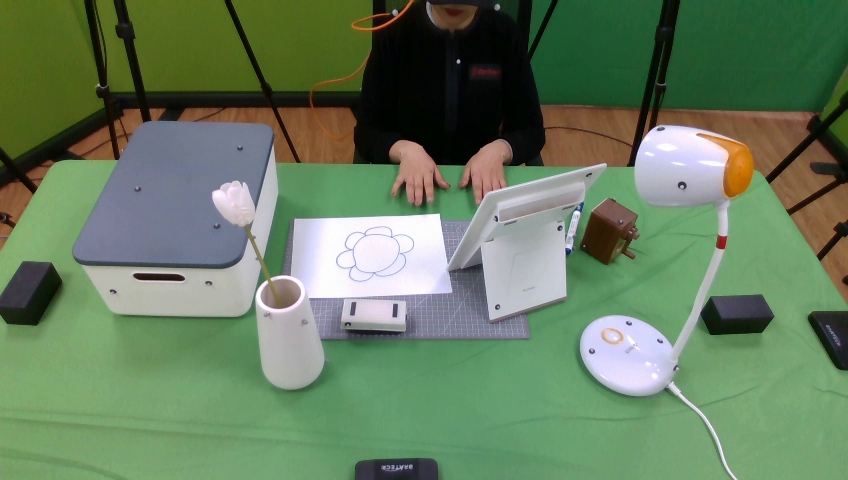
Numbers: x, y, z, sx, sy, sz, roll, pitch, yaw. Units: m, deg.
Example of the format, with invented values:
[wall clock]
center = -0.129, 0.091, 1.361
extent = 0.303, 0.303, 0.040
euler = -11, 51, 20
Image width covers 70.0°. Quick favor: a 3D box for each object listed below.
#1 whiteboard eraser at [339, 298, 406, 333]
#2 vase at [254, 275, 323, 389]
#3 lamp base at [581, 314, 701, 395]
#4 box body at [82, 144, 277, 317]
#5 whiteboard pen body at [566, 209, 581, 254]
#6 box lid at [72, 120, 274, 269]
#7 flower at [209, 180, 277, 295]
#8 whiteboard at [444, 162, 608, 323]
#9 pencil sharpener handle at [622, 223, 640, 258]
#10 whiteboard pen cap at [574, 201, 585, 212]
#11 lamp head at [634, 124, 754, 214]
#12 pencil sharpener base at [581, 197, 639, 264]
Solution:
[whiteboard eraser]
center = -0.087, 0.131, 1.045
extent = 0.113, 0.042, 0.055
euler = 3, 48, -2
[vase]
center = -0.209, 0.143, 0.921
extent = 0.098, 0.201, 0.097
euler = 1, 46, -1
[lamp base]
center = 0.361, 0.144, 0.973
extent = 0.178, 0.181, 0.160
euler = 34, 53, 23
[box body]
center = -0.421, -0.041, 1.108
extent = 0.254, 0.161, 0.361
euler = 2, 46, -3
[whiteboard pen body]
center = 0.307, -0.026, 1.241
extent = 0.017, 0.017, 0.140
euler = 16, 51, 11
[box lid]
center = -0.417, -0.094, 1.056
extent = 0.263, 0.015, 0.369
euler = 1, 47, -3
[flower]
center = -0.217, 0.075, 0.871
extent = 0.044, 0.363, 0.038
euler = -29, 36, -19
[whiteboard]
center = 0.186, 0.025, 1.029
extent = 0.217, 0.306, 0.143
euler = -14, 68, -17
[pencil sharpener handle]
center = 0.397, 0.002, 1.146
extent = 0.030, 0.068, 0.036
euler = 37, 47, 27
[whiteboard pen cap]
center = 0.327, -0.069, 1.278
extent = 0.018, 0.018, 0.033
euler = 18, 51, 13
[lamp head]
center = 0.351, -0.089, 0.776
extent = 0.112, 0.113, 0.122
euler = -30, 30, -28
[pencil sharpener base]
center = 0.362, -0.017, 1.179
extent = 0.076, 0.107, 0.061
euler = 37, 54, 27
